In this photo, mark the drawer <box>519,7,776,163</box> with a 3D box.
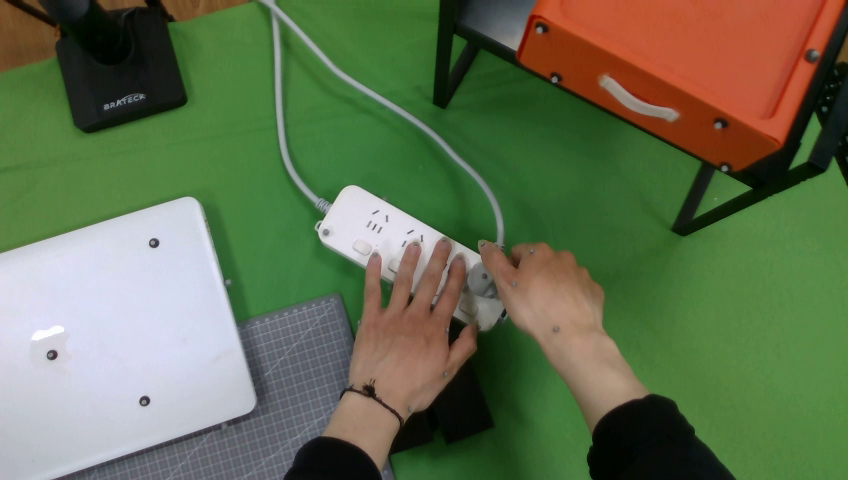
[{"bbox_3d":[0.209,-0.197,0.472,0.194,0.073,0.211,28,81,3],"label":"drawer"}]

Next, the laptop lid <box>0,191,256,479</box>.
[{"bbox_3d":[-0.369,0.109,0.605,0.357,0.013,0.241,-17,83,-5],"label":"laptop lid"}]

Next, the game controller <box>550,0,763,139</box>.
[{"bbox_3d":[0.188,-0.158,0.479,0.155,0.052,0.097,32,85,6],"label":"game controller"}]

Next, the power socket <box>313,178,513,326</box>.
[{"bbox_3d":[-0.010,0.013,0.637,0.226,0.032,0.072,30,81,3],"label":"power socket"}]

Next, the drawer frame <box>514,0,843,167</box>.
[{"bbox_3d":[0.208,-0.200,0.472,0.201,0.083,0.213,28,81,3],"label":"drawer frame"}]

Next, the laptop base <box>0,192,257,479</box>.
[{"bbox_3d":[-0.369,0.109,0.617,0.354,0.023,0.235,-18,85,-5],"label":"laptop base"}]

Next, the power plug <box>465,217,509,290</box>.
[{"bbox_3d":[0.072,0.019,0.615,0.035,0.053,0.072,39,82,5],"label":"power plug"}]
